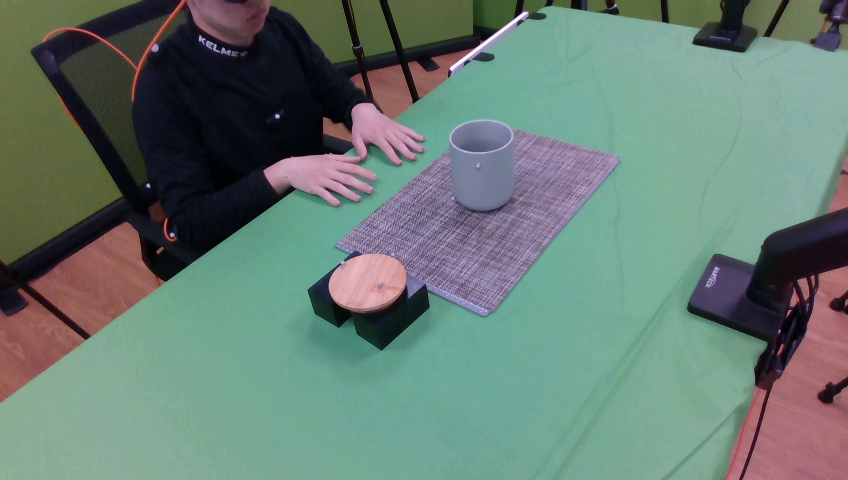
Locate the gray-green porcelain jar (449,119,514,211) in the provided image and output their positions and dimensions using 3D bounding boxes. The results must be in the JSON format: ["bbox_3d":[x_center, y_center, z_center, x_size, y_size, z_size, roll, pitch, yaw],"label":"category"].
[{"bbox_3d":[0.098,-0.120,1.008,0.106,0.127,0.105,-4,41,4],"label":"gray-green porcelain jar"}]

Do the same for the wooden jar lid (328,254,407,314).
[{"bbox_3d":[-0.077,0.062,0.832,0.108,0.021,0.108,-4,39,4],"label":"wooden jar lid"}]
